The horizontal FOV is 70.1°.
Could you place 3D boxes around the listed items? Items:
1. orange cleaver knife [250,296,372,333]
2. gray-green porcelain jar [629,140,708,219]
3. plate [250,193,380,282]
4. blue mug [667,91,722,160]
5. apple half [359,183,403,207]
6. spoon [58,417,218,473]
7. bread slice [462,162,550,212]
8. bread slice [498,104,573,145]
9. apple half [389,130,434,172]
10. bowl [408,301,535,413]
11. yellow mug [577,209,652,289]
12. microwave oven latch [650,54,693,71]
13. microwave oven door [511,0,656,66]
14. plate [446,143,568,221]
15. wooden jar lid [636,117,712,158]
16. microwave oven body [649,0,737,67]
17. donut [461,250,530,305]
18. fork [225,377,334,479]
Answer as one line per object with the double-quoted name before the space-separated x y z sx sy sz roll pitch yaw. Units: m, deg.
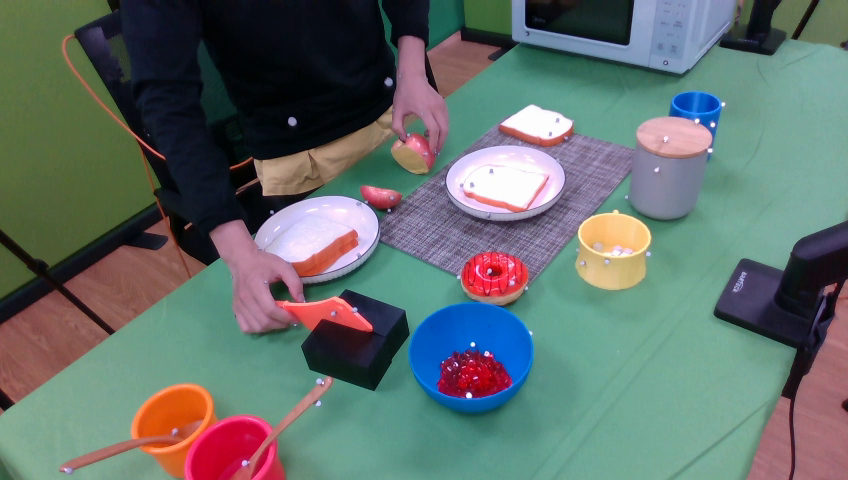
"orange cleaver knife" -0.159 0.103 0.828 0.210 0.078 0.012 -4 44 38
"gray-green porcelain jar" 0.383 -0.105 0.958 0.106 0.127 0.105 -4 41 4
"plate" -0.174 -0.001 0.984 0.209 0.038 0.208 -3 40 3
"blue mug" 0.473 -0.207 1.079 0.082 0.106 0.116 4 42 13
"apple half" -0.076 -0.073 1.051 0.081 0.082 0.032 9 83 18
"spoon" -0.304 0.221 0.661 0.041 0.195 0.021 19 92 27
"bread slice" 0.135 -0.094 1.045 0.133 0.018 0.107 15 45 23
"bread slice" 0.231 -0.231 1.205 0.105 0.019 0.130 -36 47 -29
"apple half" -0.015 -0.169 1.114 0.080 0.075 0.053 -3 47 53
"bowl" 0.059 0.156 0.739 0.151 0.077 0.150 -4 40 4
"yellow mug" 0.279 0.004 0.893 0.099 0.064 0.130 5 42 14
"microwave oven latch" 0.531 -0.386 1.301 0.078 0.029 0.030 26 51 33
"microwave oven door" 0.351 -0.539 1.349 0.353 0.245 0.039 24 50 31
"plate" 0.142 -0.096 1.045 0.207 0.039 0.206 -4 40 4
"wooden jar lid" 0.377 -0.151 0.917 0.108 0.021 0.108 -2 41 3
"microwave oven body" 0.475 -0.602 1.411 0.438 0.261 0.327 23 50 32
"donut" 0.103 0.053 0.872 0.099 0.048 0.098 -4 40 4
"fork" -0.163 0.216 0.646 0.207 0.019 0.028 -49 42 16
